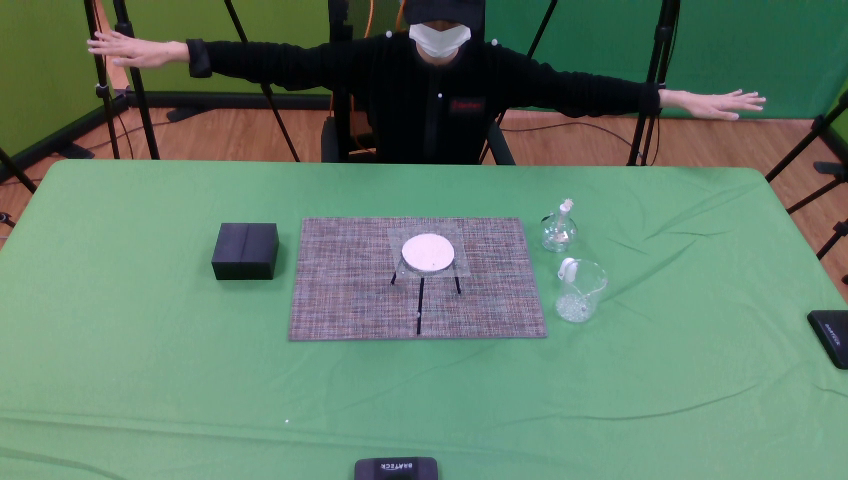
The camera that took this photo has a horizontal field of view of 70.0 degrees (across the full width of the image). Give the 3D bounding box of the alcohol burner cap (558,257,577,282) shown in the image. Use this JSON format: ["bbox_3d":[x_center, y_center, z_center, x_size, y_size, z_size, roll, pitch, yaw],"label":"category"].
[{"bbox_3d":[0.276,0.053,1.154,0.034,0.048,0.033,2,46,-1],"label":"alcohol burner cap"}]

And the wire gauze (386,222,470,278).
[{"bbox_3d":[0.004,0.016,1.005,0.125,0.011,0.120,-5,46,-8],"label":"wire gauze"}]

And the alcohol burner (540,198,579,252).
[{"bbox_3d":[0.267,-0.035,1.187,0.078,0.120,0.077,1,45,-1],"label":"alcohol burner"}]

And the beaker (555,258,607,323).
[{"bbox_3d":[0.275,0.094,1.073,0.074,0.101,0.083,10,47,6],"label":"beaker"}]

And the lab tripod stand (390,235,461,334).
[{"bbox_3d":[-0.001,0.067,1.050,0.148,0.132,0.147,1,47,-1],"label":"lab tripod stand"}]
